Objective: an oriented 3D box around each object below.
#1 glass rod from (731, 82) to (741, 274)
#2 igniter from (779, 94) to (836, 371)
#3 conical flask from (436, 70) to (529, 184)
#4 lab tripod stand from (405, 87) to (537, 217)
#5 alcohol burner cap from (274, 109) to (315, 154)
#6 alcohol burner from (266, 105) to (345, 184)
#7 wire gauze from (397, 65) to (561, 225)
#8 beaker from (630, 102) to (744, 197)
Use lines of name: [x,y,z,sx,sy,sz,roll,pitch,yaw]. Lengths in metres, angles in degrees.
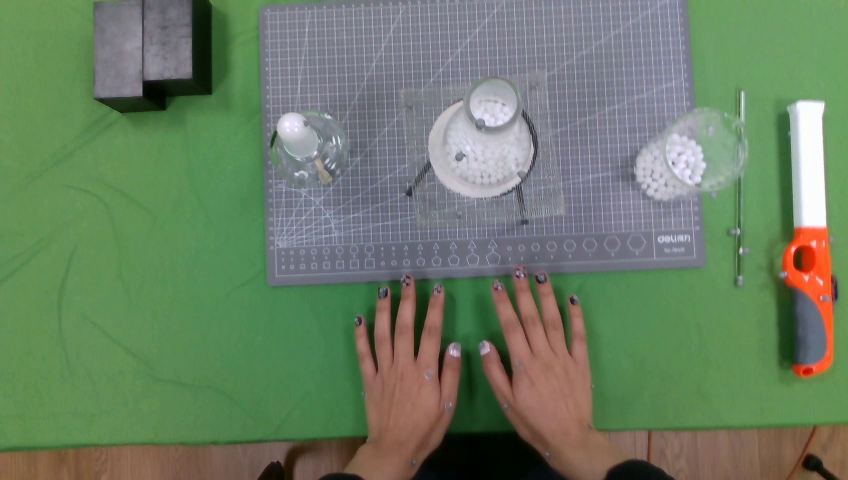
glass rod: [0.320,-0.065,0.621,0.008,0.008,0.199,1,87,2]
igniter: [0.382,-0.008,0.606,0.057,0.025,0.276,0,88,-8]
conical flask: [0.044,-0.086,0.440,0.075,0.122,0.075,0,87,3]
lab tripod stand: [0.048,-0.076,0.564,0.148,0.131,0.148,0,89,3]
alcohol burner cap: [-0.118,-0.100,0.544,0.034,0.048,0.033,0,78,0]
alcohol burner: [-0.117,-0.096,0.580,0.078,0.119,0.077,0,85,2]
wire gauze: [0.045,-0.077,0.499,0.125,0.011,0.121,-7,89,-1]
beaker: [0.246,-0.082,0.576,0.084,0.100,0.074,-40,86,-1]
